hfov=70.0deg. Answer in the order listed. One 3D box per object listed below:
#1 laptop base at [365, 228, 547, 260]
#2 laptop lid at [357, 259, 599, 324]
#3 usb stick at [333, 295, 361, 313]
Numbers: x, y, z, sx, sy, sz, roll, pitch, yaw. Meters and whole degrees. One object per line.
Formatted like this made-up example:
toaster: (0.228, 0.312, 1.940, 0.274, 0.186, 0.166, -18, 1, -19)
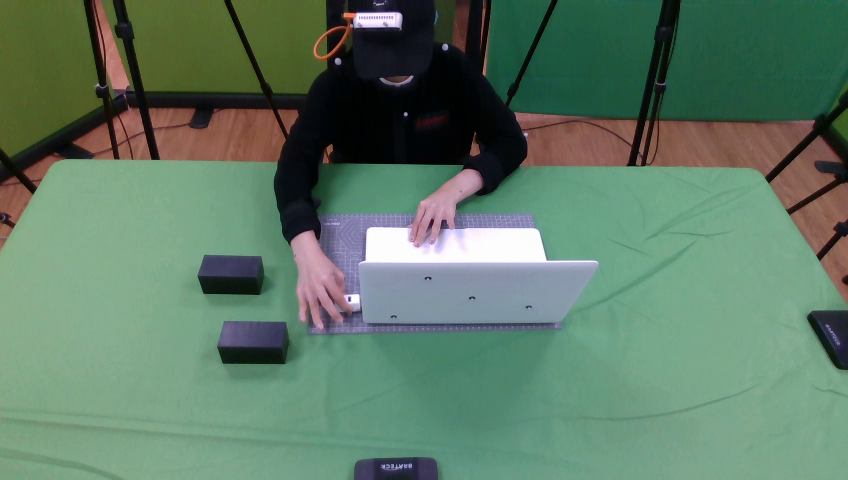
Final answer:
laptop base: (0.064, 0.062, 1.144, 0.355, 0.023, 0.234, 0, 42, -4)
laptop lid: (0.075, 0.087, 0.959, 0.357, 0.242, 0.013, 1, 60, -5)
usb stick: (-0.129, 0.112, 1.066, 0.059, 0.027, 0.021, -1, 47, -7)
